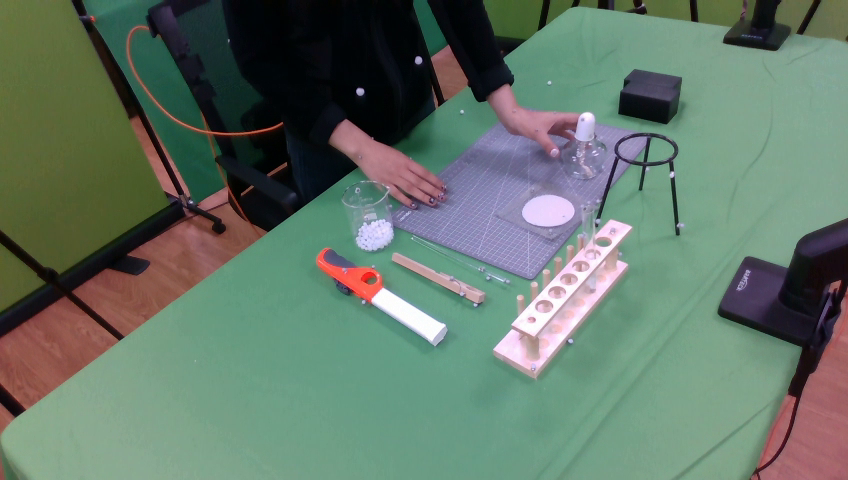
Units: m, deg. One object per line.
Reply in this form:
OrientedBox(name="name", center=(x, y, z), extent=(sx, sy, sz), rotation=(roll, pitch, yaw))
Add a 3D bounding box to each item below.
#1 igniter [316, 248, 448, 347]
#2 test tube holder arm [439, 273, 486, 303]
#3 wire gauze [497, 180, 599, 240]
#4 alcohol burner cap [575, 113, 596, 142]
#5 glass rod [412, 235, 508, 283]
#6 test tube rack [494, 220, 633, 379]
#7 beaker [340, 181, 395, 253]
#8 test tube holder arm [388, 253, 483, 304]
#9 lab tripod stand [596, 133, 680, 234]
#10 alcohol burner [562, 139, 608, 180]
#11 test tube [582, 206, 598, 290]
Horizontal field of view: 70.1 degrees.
OrientedBox(name="igniter", center=(-0.074, 0.078, 0.901), extent=(0.274, 0.025, 0.057), rotation=(29, 63, 36))
OrientedBox(name="test tube holder arm", center=(0.053, 0.071, 0.895), extent=(0.087, 0.015, 0.010), rotation=(24, 13, 33))
OrientedBox(name="wire gauze", center=(0.207, -0.050, 1.011), extent=(0.125, 0.011, 0.120), rotation=(-34, 45, -26))
OrientedBox(name="alcohol burner cap", center=(0.277, -0.193, 1.028), extent=(0.034, 0.048, 0.033), rotation=(-2, 45, 3))
OrientedBox(name="glass rod", center=(0.052, 0.028, 0.951), extent=(0.198, 0.008, 0.008), rotation=(25, 52, 37))
OrientedBox(name="test tube rack", center=(0.191, 0.068, 0.818), extent=(0.066, 0.085, 0.243), rotation=(25, 51, 35))
OrientedBox(name="beaker", center=(-0.086, -0.037, 0.985), extent=(0.084, 0.101, 0.073), rotation=(-18, 41, -11))
OrientedBox(name="test tube holder arm", center=(0.015, 0.056, 0.915), extent=(0.177, 0.015, 0.013), rotation=(23, 13, 32))
OrientedBox(name="lab tripod stand", center=(0.338, -0.090, 0.940), extent=(0.148, 0.132, 0.147), rotation=(-7, 38, 6))
OrientedBox(name="alcohol burner", center=(0.280, -0.166, 1.051), extent=(0.078, 0.119, 0.077), rotation=(-5, 38, 5))
OrientedBox(name="test tube", center=(0.220, 0.015, 0.798), extent=(0.017, 0.151, 0.017), rotation=(-9, 43, 9))
